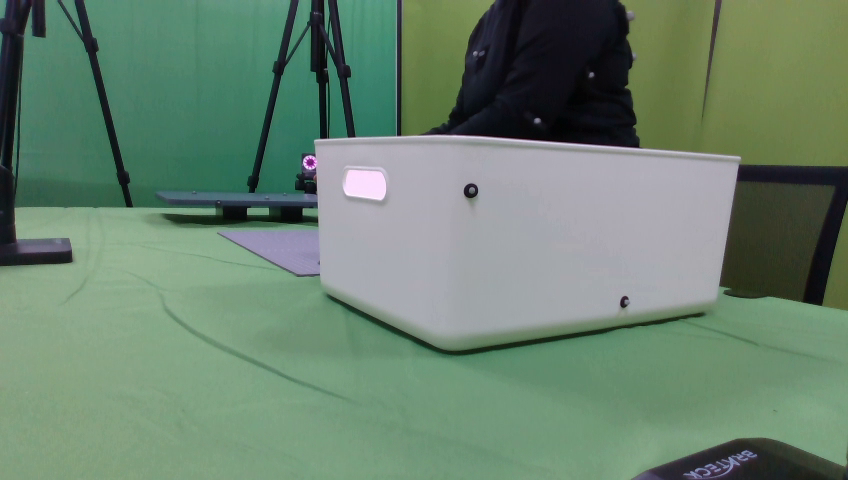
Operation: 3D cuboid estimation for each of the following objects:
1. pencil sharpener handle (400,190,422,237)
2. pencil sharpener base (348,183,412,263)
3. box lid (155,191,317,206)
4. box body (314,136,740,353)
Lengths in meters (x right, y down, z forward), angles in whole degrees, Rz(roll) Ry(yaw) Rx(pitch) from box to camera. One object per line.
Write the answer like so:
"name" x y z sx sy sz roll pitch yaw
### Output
"pencil sharpener handle" -0.016 -0.037 0.872 0.031 0.067 0.036 -1 15 -30
"pencil sharpener base" -0.059 -0.024 0.845 0.077 0.107 0.061 -1 7 -30
"box lid" -0.387 -0.091 1.340 0.373 0.015 0.262 -1 8 -30
"box body" 0.098 -0.012 0.605 0.366 0.160 0.253 -2 8 -33
